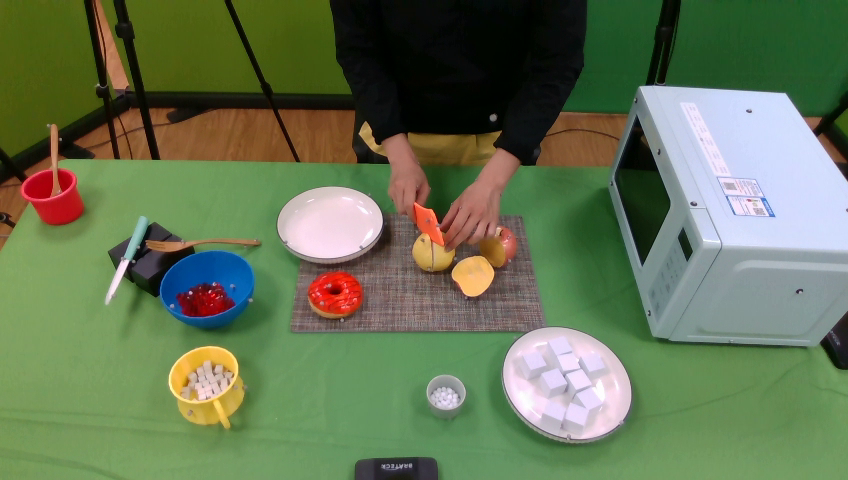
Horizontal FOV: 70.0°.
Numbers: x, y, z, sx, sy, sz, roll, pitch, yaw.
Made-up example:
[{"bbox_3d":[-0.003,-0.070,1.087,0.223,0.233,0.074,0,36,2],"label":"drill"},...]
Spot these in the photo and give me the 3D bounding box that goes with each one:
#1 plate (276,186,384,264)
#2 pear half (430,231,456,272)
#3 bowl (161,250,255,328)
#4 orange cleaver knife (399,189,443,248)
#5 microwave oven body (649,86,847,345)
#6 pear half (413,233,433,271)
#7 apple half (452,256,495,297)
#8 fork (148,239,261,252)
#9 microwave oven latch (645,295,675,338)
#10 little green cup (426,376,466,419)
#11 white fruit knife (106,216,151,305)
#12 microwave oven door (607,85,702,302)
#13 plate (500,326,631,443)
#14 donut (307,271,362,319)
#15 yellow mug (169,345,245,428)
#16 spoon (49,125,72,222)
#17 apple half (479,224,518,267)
[{"bbox_3d":[-0.184,-0.027,1.195,0.209,0.038,0.208,2,46,-2],"label":"plate"},{"bbox_3d":[0.032,0.008,1.127,0.056,0.110,0.076,-16,54,-16],"label":"pear half"},{"bbox_3d":[-0.362,0.097,1.040,0.151,0.077,0.150,2,45,-2],"label":"bowl"},{"bbox_3d":[-0.007,-0.044,1.125,0.012,0.077,0.210,-17,24,-14],"label":"orange cleaver knife"},{"bbox_3d":[0.567,-0.053,1.118,0.326,0.261,0.439,2,45,-1],"label":"microwave oven body"},{"bbox_3d":[-0.004,0.022,1.126,0.031,0.088,0.070,-18,56,-12],"label":"pear half"},{"bbox_3d":[0.095,0.070,1.119,0.081,0.033,0.081,-6,63,13],"label":"apple half"},{"bbox_3d":[-0.399,0.007,1.118,0.208,0.019,0.028,-4,35,-37],"label":"fork"},{"bbox_3d":[0.412,0.134,1.061,0.030,0.029,0.078,3,45,0],"label":"microwave oven latch"},{"bbox_3d":[0.033,0.248,0.950,0.061,0.039,0.061,2,46,-2],"label":"little green cup"},{"bbox_3d":[-0.519,0.032,1.066,0.027,0.016,0.206,-18,45,19],"label":"white fruit knife"},{"bbox_3d":[0.423,-0.094,1.140,0.039,0.245,0.353,2,46,-1],"label":"microwave oven door"},{"bbox_3d":[0.224,0.234,0.978,0.208,0.039,0.206,2,46,-2],"label":"plate"},{"bbox_3d":[-0.157,0.097,1.073,0.099,0.048,0.098,4,45,-4],"label":"donut"},{"bbox_3d":[-0.322,0.230,0.922,0.100,0.064,0.130,-24,53,-25],"label":"yellow mug"},{"bbox_3d":[-0.717,-0.132,1.188,0.042,0.021,0.193,-3,90,-8],"label":"spoon"},{"bbox_3d":[0.148,0.008,1.160,0.053,0.075,0.080,-24,48,-30],"label":"apple half"}]
